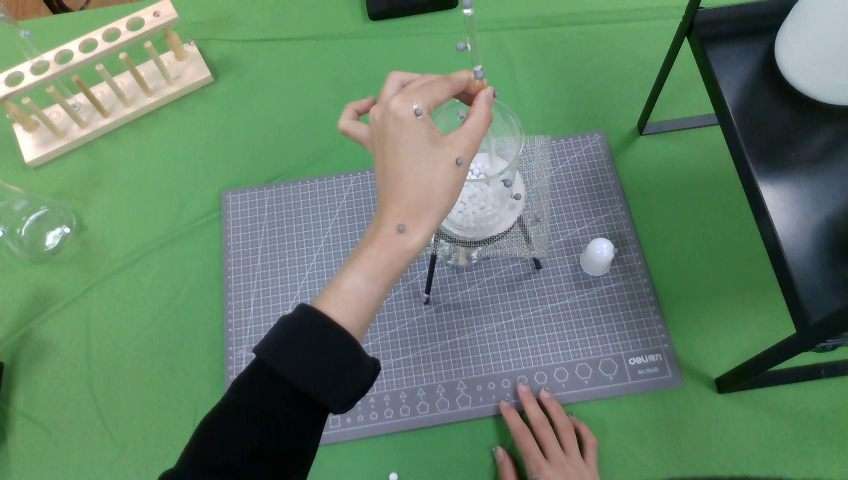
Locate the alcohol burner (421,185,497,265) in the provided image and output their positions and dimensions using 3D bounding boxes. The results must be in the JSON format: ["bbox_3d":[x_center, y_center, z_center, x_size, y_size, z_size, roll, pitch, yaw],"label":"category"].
[{"bbox_3d":[0.035,-0.021,0.610,0.078,0.120,0.077,-1,65,2],"label":"alcohol burner"}]

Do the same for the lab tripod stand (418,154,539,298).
[{"bbox_3d":[0.048,-0.014,0.596,0.148,0.132,0.147,-1,66,2],"label":"lab tripod stand"}]

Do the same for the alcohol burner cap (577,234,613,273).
[{"bbox_3d":[0.179,0.011,0.627,0.034,0.048,0.033,-1,67,3],"label":"alcohol burner cap"}]

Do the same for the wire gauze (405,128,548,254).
[{"bbox_3d":[0.049,-0.045,0.537,0.121,0.011,0.124,4,66,3],"label":"wire gauze"}]

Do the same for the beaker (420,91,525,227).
[{"bbox_3d":[0.036,-0.058,0.491,0.084,0.101,0.073,-31,69,-9],"label":"beaker"}]

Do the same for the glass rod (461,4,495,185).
[{"bbox_3d":[0.041,-0.093,0.440,0.008,0.201,0.008,-4,64,9],"label":"glass rod"}]

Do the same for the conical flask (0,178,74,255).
[{"bbox_3d":[-0.442,-0.039,0.644,0.075,0.123,0.075,-1,67,3],"label":"conical flask"}]

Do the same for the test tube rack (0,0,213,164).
[{"bbox_3d":[-0.391,-0.191,0.725,0.242,0.086,0.066,-29,68,-9],"label":"test tube rack"}]

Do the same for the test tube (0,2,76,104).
[{"bbox_3d":[-0.437,-0.207,0.680,0.017,0.151,0.017,-1,60,3],"label":"test tube"}]

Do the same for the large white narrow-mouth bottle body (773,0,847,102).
[{"bbox_3d":[0.338,-0.191,0.428,0.102,0.196,0.101,-2,67,5],"label":"large white narrow-mouth bottle body"}]
